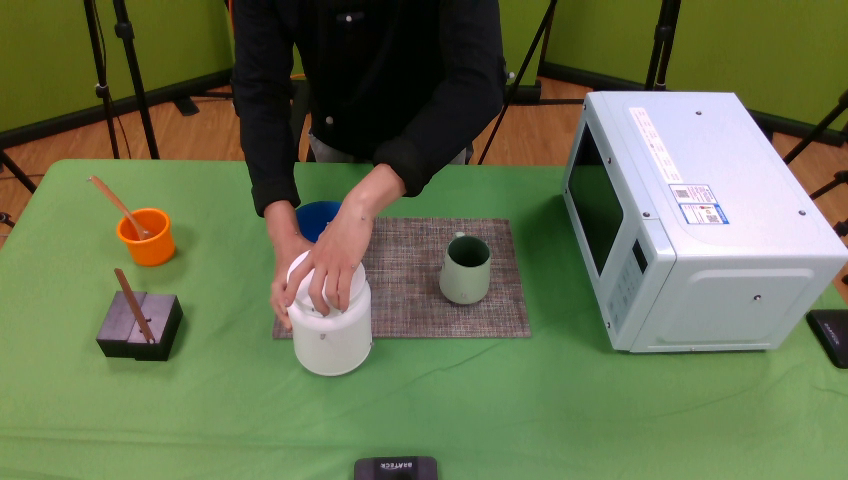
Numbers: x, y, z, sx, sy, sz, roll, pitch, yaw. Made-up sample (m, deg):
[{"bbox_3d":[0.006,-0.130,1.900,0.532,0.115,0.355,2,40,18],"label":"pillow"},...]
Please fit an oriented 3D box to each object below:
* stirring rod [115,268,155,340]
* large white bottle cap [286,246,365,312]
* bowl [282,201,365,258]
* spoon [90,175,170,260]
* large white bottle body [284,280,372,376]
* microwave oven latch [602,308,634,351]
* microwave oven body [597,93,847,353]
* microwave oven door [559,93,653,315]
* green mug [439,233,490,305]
[{"bbox_3d":[-0.479,0.102,0.999,0.014,0.006,0.175,7,32,-49],"label":"stirring rod"},{"bbox_3d":[-0.145,0.056,0.895,0.115,0.018,0.114,3,49,-3],"label":"large white bottle cap"},{"bbox_3d":[-0.186,0.005,1.137,0.151,0.077,0.150,3,46,-3],"label":"bowl"},{"bbox_3d":[-0.539,-0.042,1.111,0.021,0.194,0.041,-15,25,51],"label":"spoon"},{"bbox_3d":[-0.150,0.116,0.960,0.131,0.185,0.130,1,47,-1],"label":"large white bottle body"},{"bbox_3d":[0.332,0.153,1.044,0.030,0.029,0.078,-1,45,-4],"label":"microwave oven latch"},{"bbox_3d":[0.475,-0.041,1.109,0.326,0.261,0.438,-1,45,-4],"label":"microwave oven body"},{"bbox_3d":[0.327,-0.074,1.123,0.039,0.245,0.353,-1,46,-5],"label":"microwave oven door"},{"bbox_3d":[0.072,0.044,1.101,0.092,0.105,0.124,-6,46,-9],"label":"green mug"}]
